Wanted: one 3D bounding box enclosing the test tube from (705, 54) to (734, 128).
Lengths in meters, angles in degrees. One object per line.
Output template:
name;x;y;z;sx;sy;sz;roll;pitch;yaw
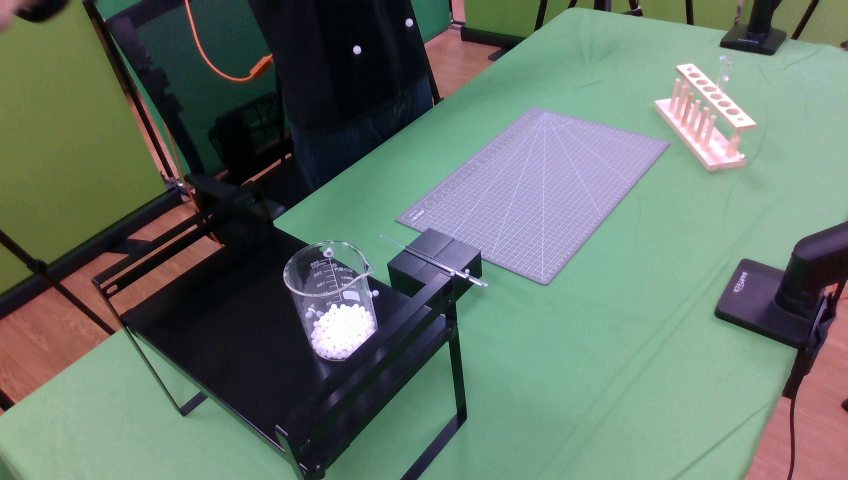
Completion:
test tube;0.523;-0.260;1.073;0.017;0.151;0.017;-4;46;4

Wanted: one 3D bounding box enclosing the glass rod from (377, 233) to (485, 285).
glass rod;0.005;0.025;0.877;0.198;0.008;0.008;24;50;31

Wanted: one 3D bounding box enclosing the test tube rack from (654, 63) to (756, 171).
test tube rack;0.510;-0.233;1.120;0.067;0.085;0.241;-8;41;-1

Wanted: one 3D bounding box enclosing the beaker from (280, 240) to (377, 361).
beaker;-0.084;0.061;0.580;0.084;0.101;0.073;-3;41;5
